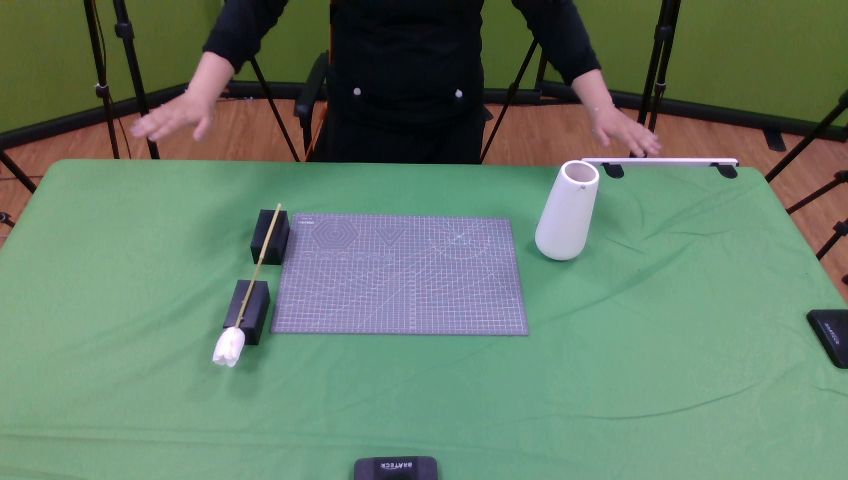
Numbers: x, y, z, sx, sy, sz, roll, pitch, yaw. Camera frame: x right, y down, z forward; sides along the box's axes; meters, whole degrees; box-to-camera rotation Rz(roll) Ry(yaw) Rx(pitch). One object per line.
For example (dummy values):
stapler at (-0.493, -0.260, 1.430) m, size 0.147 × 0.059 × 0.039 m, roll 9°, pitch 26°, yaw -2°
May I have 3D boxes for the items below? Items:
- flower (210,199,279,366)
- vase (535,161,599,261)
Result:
flower at (-0.298, 0.056, 1.054) m, size 0.044 × 0.038 × 0.359 m, roll -16°, pitch 44°, yaw 24°
vase at (0.270, -0.051, 1.145) m, size 0.098 × 0.201 × 0.097 m, roll 1°, pitch 46°, yaw -1°
